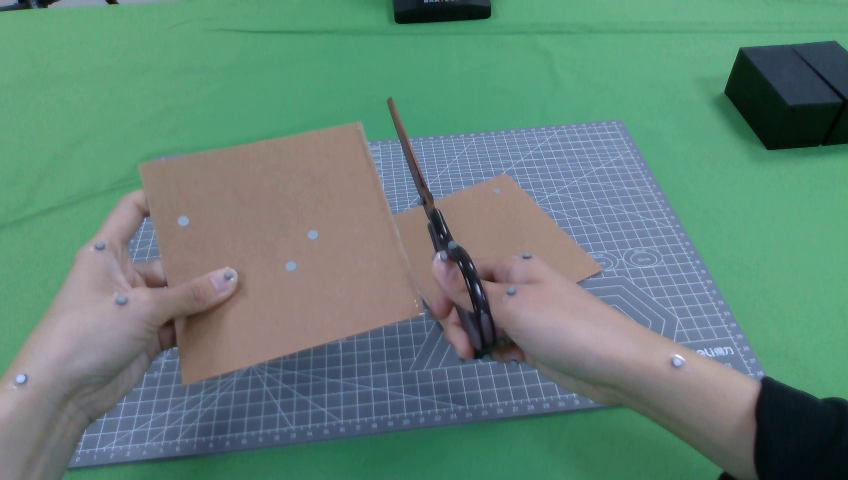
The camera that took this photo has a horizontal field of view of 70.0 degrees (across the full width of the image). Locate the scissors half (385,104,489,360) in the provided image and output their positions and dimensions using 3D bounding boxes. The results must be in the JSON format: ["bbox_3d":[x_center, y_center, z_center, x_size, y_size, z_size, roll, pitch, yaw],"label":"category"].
[{"bbox_3d":[0.003,-0.009,0.375,0.013,0.040,0.174,-17,78,-11],"label":"scissors half"}]

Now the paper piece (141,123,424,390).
[{"bbox_3d":[-0.083,0.002,0.355,0.136,0.004,0.134,-14,75,-15],"label":"paper piece"}]

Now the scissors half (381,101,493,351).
[{"bbox_3d":[0.003,-0.017,0.357,0.013,0.040,0.173,-20,64,-6],"label":"scissors half"}]

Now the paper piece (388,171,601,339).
[{"bbox_3d":[0.045,0.003,0.482,0.138,0.009,0.134,-21,54,-20],"label":"paper piece"}]
